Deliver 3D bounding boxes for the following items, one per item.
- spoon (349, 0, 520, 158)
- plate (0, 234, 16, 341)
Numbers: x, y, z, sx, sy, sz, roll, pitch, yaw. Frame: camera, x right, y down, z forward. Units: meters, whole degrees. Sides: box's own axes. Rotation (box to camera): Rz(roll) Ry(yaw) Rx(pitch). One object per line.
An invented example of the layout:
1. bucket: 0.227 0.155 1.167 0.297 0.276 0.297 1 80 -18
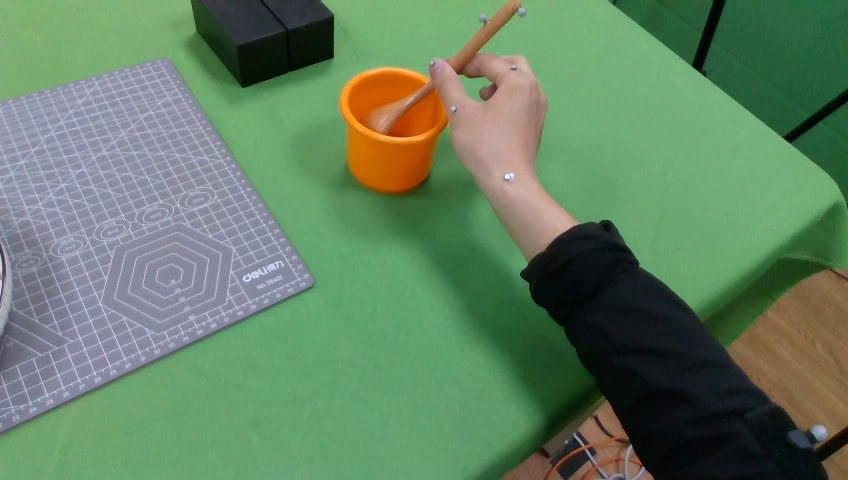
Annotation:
1. spoon: 0.002 -0.133 0.500 0.022 0.194 0.041 27 35 -48
2. plate: -0.373 0.053 0.383 0.209 0.038 0.207 5 55 -7
